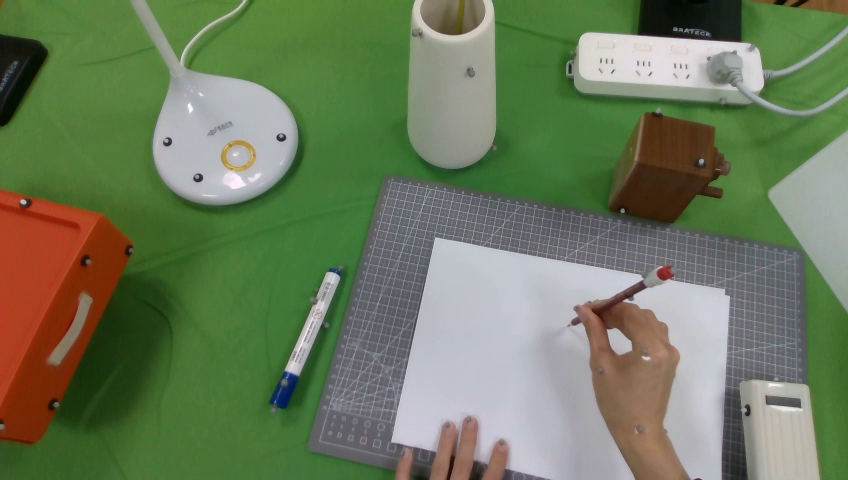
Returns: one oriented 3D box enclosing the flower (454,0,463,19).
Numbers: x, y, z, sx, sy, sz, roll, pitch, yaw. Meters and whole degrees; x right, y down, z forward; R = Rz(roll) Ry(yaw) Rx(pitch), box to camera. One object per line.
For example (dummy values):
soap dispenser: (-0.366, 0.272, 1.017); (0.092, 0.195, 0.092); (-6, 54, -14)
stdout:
flower: (0.031, -0.207, 0.533); (0.038, 0.365, 0.043); (-1, 49, -7)

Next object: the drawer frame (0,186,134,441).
drawer frame: (-0.412, 0.050, 0.540); (0.213, 0.083, 0.200); (14, 69, 4)

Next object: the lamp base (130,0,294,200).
lamp base: (-0.237, -0.155, 0.615); (0.160, 0.181, 0.178); (-42, 69, -15)

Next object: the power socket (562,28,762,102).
power socket: (0.277, -0.204, 0.706); (0.227, 0.033, 0.071); (5, 68, 3)

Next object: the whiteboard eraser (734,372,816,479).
whiteboard eraser: (0.310, 0.176, 0.539); (0.055, 0.042, 0.112); (6, 68, 2)

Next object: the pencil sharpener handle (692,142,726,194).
pencil sharpener handle: (0.285, -0.068, 0.596); (0.030, 0.068, 0.036); (13, 66, 7)

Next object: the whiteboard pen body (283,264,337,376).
whiteboard pen body: (-0.115, 0.086, 0.596); (0.017, 0.017, 0.140); (15, 65, 8)

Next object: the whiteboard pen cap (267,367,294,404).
whiteboard pen cap: (-0.134, 0.136, 0.572); (0.018, 0.018, 0.033); (16, 63, 8)

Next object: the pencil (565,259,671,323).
pencil: (0.154, 0.049, 0.511); (0.012, 0.195, 0.012); (3, 70, -7)

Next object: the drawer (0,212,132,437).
drawer: (-0.406, 0.049, 0.538); (0.211, 0.074, 0.193); (13, 69, 6)

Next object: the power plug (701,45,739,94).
power plug: (0.324, -0.183, 0.671); (0.035, 0.053, 0.072); (15, 70, 8)

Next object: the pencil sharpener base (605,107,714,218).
pencil sharpener base: (0.236, -0.075, 0.613); (0.076, 0.108, 0.061); (13, 67, 6)

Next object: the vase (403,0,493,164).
vase: (0.023, -0.160, 0.602); (0.098, 0.201, 0.097); (-1, 66, 2)

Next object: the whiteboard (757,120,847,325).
whiteboard: (0.506, -0.052, 0.524); (0.144, 0.307, 0.215); (-12, 65, -24)
